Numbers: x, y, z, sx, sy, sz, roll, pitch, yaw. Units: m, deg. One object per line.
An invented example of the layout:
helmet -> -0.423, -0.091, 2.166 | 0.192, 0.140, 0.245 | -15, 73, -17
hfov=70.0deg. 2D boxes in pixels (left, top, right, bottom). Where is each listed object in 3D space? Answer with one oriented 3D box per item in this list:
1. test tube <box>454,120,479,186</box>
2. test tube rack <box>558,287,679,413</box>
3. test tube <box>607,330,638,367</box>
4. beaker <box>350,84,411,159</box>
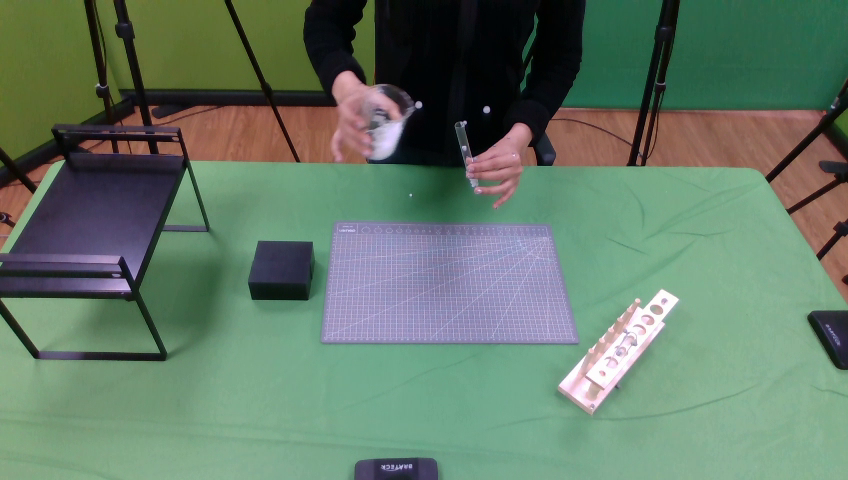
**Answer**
test tube -> 0.074, -0.144, 1.026 | 0.017, 0.151, 0.017 | -9, 51, 11
test tube rack -> 0.326, 0.170, 1.009 | 0.066, 0.085, 0.242 | 36, 54, 26
test tube -> 0.292, 0.184, 0.925 | 0.017, 0.151, 0.017 | 4, 49, -4
beaker -> -0.071, -0.180, 0.939 | 0.084, 0.100, 0.073 | -3, 61, -19
